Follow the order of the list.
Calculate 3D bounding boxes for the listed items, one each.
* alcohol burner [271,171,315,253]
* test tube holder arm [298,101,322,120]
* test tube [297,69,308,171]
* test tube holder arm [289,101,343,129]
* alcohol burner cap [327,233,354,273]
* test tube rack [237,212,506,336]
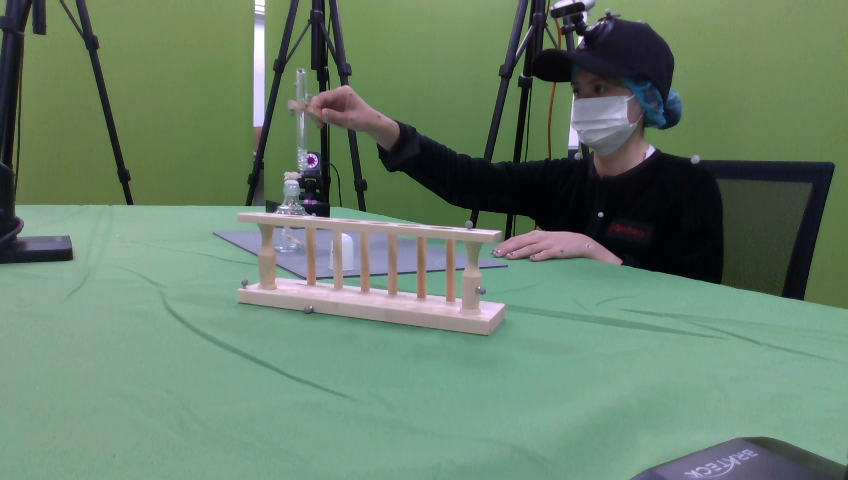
[{"bbox_3d":[-0.196,-0.041,0.884,0.078,0.119,0.078,3,5,0],"label":"alcohol burner"},{"bbox_3d":[-0.171,-0.195,0.914,0.010,0.015,0.088,6,3,7],"label":"test tube holder arm"},{"bbox_3d":[-0.179,-0.177,0.890,0.017,0.150,0.017,-1,-3,0],"label":"test tube"},{"bbox_3d":[-0.167,-0.196,0.959,0.013,0.015,0.179,7,3,14],"label":"test tube holder arm"},{"bbox_3d":[-0.104,0.016,0.751,0.034,0.048,0.034,3,6,0],"label":"alcohol burner cap"},{"bbox_3d":[-0.049,0.024,0.552,0.242,0.085,0.067,5,8,18],"label":"test tube rack"}]
